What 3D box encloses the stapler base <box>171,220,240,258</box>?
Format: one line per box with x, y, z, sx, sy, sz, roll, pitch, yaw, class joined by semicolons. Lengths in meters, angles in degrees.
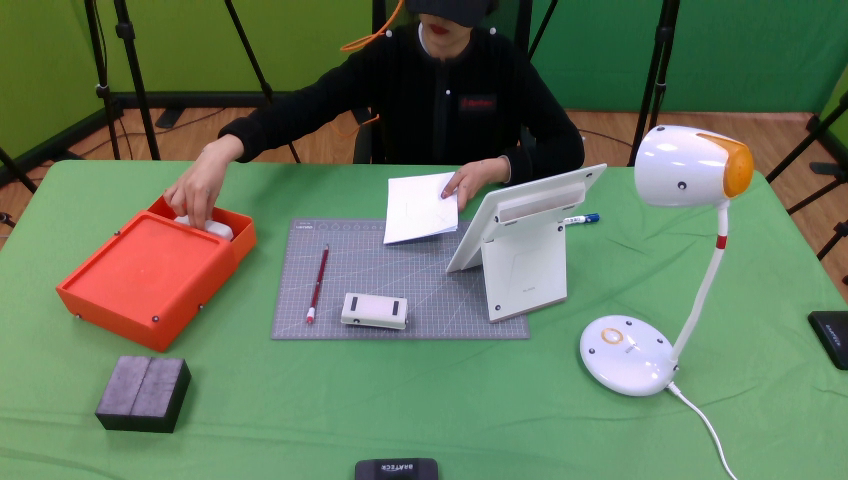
-0.415;-0.007;1.151;0.130;0.024;0.041;22;46;8;stapler base

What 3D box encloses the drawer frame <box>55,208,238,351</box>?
-0.474;0.062;1.059;0.201;0.083;0.213;19;48;13;drawer frame

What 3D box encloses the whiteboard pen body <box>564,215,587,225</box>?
0.291;-0.040;1.261;0.141;0.017;0.017;-6;47;-11;whiteboard pen body

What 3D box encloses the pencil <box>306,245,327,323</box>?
-0.196;0.076;1.115;0.012;0.012;0.193;4;44;0;pencil

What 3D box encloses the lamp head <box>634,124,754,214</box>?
0.351;-0.089;0.776;0.112;0.113;0.122;-30;30;-28;lamp head

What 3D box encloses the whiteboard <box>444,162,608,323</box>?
0.186;0.026;1.028;0.217;0.306;0.143;-14;68;-17;whiteboard

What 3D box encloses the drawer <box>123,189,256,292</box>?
-0.449;0.018;1.105;0.194;0.073;0.211;19;48;12;drawer

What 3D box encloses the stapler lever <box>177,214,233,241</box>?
-0.412;-0.023;1.133;0.118;0.040;0.026;22;46;7;stapler lever

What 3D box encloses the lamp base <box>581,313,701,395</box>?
0.361;0.144;0.973;0.178;0.181;0.160;34;53;23;lamp base

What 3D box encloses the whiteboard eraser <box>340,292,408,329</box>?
-0.087;0.125;1.052;0.113;0.042;0.055;5;45;1;whiteboard eraser

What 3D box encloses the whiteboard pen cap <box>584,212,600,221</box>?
0.351;-0.048;1.271;0.033;0.018;0.018;-6;47;-11;whiteboard pen cap
